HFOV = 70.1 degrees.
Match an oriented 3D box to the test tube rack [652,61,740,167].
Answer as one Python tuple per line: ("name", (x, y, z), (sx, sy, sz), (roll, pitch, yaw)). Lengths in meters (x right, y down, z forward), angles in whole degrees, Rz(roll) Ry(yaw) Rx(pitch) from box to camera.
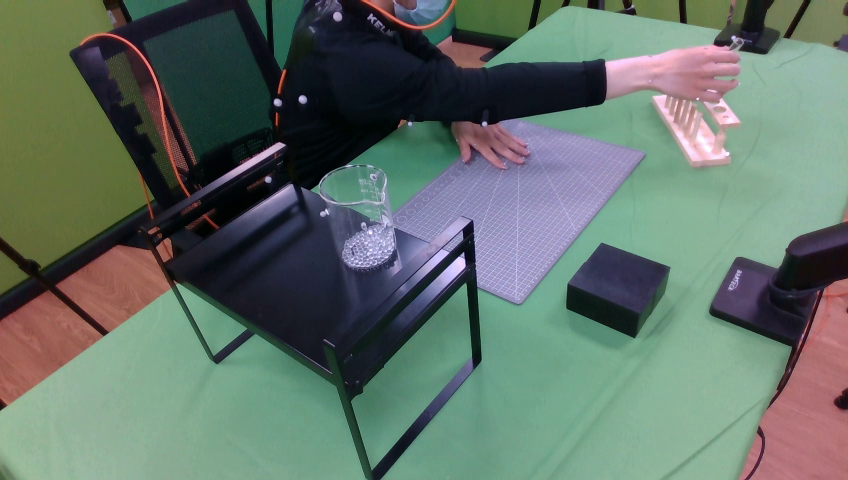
("test tube rack", (0.500, -0.241, 1.130), (0.067, 0.085, 0.241), (-5, 41, 3))

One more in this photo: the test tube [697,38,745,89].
("test tube", (0.518, -0.302, 1.067), (0.017, 0.150, 0.017), (2, 68, -4))

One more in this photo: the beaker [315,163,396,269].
("beaker", (-0.069, -0.024, 0.671), (0.083, 0.101, 0.074), (27, 52, 32))
